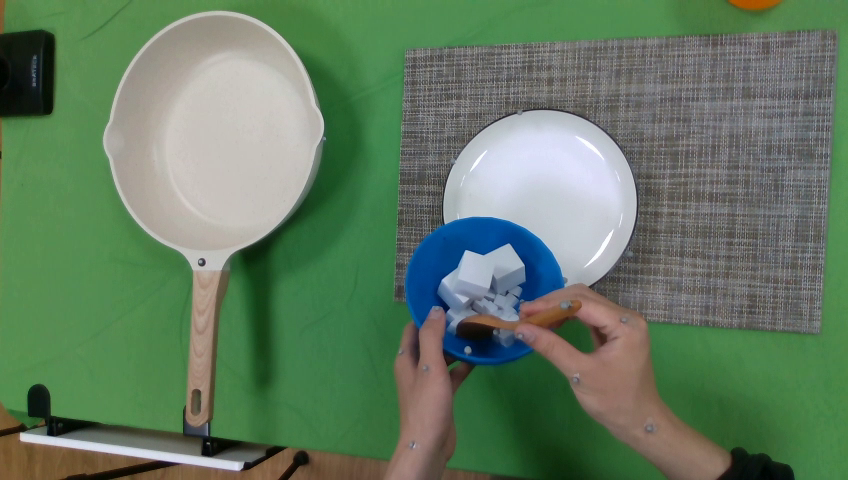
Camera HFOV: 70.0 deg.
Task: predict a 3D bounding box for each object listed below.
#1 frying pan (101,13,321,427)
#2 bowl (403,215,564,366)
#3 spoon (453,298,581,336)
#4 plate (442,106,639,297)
[{"bbox_3d":[-0.259,-0.023,0.740,0.306,0.103,0.486,0,82,17],"label":"frying pan"},{"bbox_3d":[0.054,0.059,0.592,0.151,0.077,0.150,1,61,-1],"label":"bowl"},{"bbox_3d":[0.073,0.066,0.499,0.042,0.193,0.021,12,76,-18],"label":"spoon"},{"bbox_3d":[0.124,-0.039,0.658,0.207,0.039,0.207,0,90,17],"label":"plate"}]
